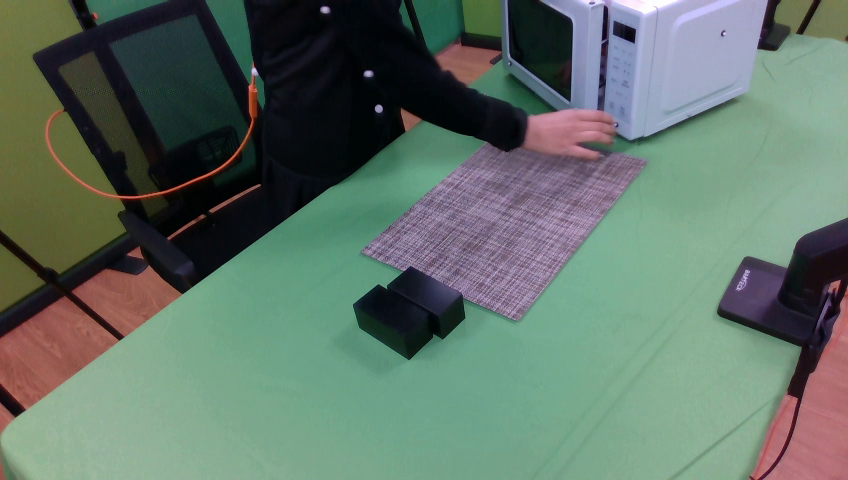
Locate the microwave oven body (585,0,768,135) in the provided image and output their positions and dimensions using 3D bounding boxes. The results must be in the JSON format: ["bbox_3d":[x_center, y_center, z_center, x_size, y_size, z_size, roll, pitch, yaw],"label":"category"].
[{"bbox_3d":[0.411,-0.440,1.235,0.327,0.261,0.437,-25,42,-16],"label":"microwave oven body"}]

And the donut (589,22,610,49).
[{"bbox_3d":[0.401,-0.429,1.293,0.099,0.048,0.098,4,49,-4],"label":"donut"}]

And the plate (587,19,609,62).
[{"bbox_3d":[0.359,-0.425,1.294,0.209,0.038,0.208,-1,36,1],"label":"plate"}]

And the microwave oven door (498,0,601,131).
[{"bbox_3d":[0.243,-0.402,1.214,0.039,0.245,0.353,-20,41,-11],"label":"microwave oven door"}]

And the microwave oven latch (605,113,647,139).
[{"bbox_3d":[0.375,-0.217,1.129,0.030,0.029,0.078,-24,42,-15],"label":"microwave oven latch"}]
